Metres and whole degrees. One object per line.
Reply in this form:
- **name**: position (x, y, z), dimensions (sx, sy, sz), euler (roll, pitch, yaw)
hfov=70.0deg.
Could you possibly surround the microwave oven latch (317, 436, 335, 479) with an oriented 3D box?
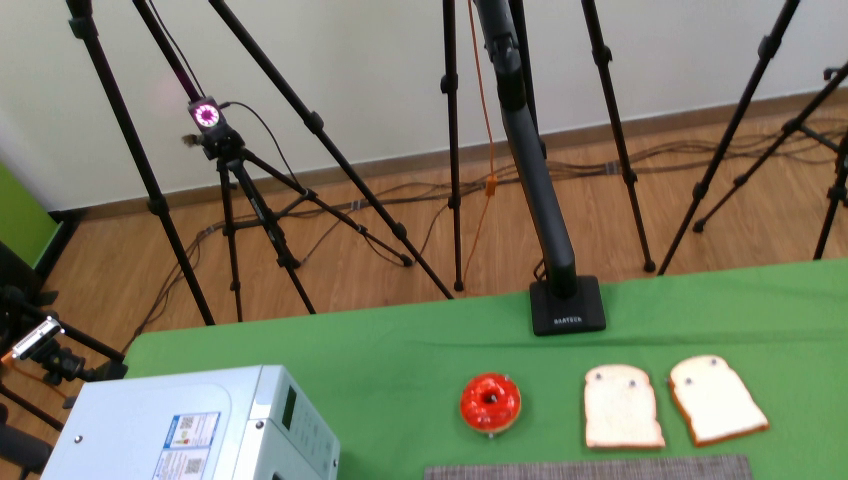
- **microwave oven latch**: position (-0.154, 0.341, 0.918), dimensions (0.030, 0.030, 0.078), euler (-7, 47, 11)

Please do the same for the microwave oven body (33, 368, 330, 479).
- **microwave oven body**: position (-0.325, 0.424, 0.755), dimensions (0.325, 0.263, 0.437), euler (-8, 46, 10)

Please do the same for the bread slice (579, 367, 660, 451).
- **bread slice**: position (0.282, 0.252, 0.904), dimensions (0.107, 0.018, 0.133), euler (-7, 47, 11)

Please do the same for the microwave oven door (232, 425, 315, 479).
- **microwave oven door**: position (-0.185, 0.430, 0.697), dimensions (0.039, 0.246, 0.352), euler (-8, 46, 10)

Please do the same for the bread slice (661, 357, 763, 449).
- **bread slice**: position (0.409, 0.231, 0.884), dimensions (0.105, 0.019, 0.130), euler (-17, 46, 1)

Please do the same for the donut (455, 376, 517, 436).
- **donut**: position (0.096, 0.257, 0.941), dimensions (0.099, 0.049, 0.098), euler (-11, 45, 11)
